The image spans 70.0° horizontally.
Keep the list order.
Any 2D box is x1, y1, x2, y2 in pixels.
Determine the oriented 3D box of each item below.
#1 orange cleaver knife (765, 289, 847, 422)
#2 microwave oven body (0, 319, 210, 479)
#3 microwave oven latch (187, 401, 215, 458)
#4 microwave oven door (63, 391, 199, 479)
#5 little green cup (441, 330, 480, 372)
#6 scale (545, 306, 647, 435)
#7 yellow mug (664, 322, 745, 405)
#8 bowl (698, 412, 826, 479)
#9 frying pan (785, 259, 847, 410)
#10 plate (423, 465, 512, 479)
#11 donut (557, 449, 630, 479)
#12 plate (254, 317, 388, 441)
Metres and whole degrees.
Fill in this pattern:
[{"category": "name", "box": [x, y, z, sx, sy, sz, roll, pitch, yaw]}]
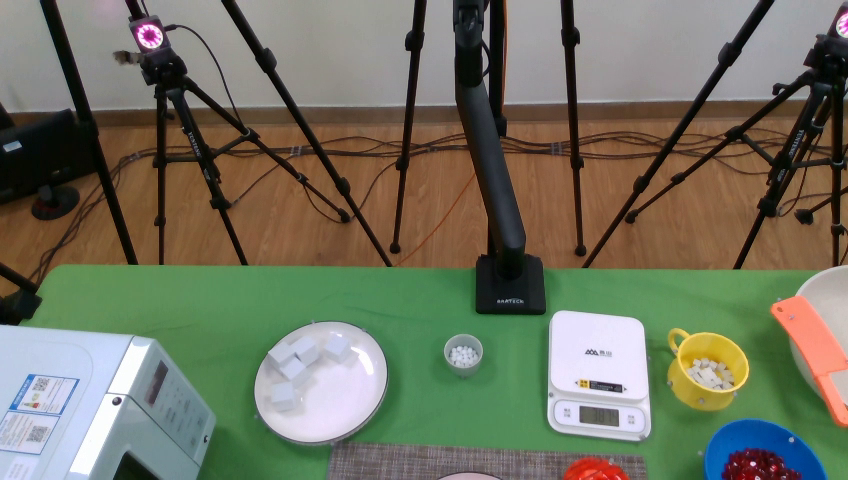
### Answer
[{"category": "orange cleaver knife", "box": [0.569, 0.159, 0.876, 0.077, 0.012, 0.209, -5, 51, -4]}, {"category": "microwave oven body", "box": [-0.507, 0.345, 0.723, 0.326, 0.262, 0.437, 3, 52, 6]}, {"category": "microwave oven latch", "box": [-0.333, 0.277, 0.890, 0.030, 0.030, 0.078, 5, 52, 8]}, {"category": "microwave oven door", "box": [-0.368, 0.382, 0.676, 0.039, 0.246, 0.352, 3, 51, 7]}, {"category": "little green cup", "box": [0.059, 0.179, 0.965, 0.061, 0.039, 0.061, -2, 51, 3]}, {"category": "scale", "box": [0.265, 0.196, 0.940, 0.148, 0.032, 0.199, 4, 52, 8]}, {"category": "yellow mug", "box": [0.413, 0.179, 0.921, 0.100, 0.064, 0.129, -25, 53, -15]}, {"category": "bowl", "box": [0.434, 0.314, 0.803, 0.151, 0.077, 0.150, -2, 52, 3]}, {"category": "frying pan", "box": [0.729, 0.223, 0.837, 0.307, 0.104, 0.482, -21, 44, -11]}, {"category": "plate", "box": [0.058, 0.400, 0.781, 0.209, 0.038, 0.207, -2, 51, 2]}, {"category": "donut", "box": [0.229, 0.333, 0.819, 0.099, 0.049, 0.098, -4, 52, 5]}, {"category": "plate", "box": [-0.158, 0.217, 0.950, 0.207, 0.039, 0.205, -2, 51, 3]}]
